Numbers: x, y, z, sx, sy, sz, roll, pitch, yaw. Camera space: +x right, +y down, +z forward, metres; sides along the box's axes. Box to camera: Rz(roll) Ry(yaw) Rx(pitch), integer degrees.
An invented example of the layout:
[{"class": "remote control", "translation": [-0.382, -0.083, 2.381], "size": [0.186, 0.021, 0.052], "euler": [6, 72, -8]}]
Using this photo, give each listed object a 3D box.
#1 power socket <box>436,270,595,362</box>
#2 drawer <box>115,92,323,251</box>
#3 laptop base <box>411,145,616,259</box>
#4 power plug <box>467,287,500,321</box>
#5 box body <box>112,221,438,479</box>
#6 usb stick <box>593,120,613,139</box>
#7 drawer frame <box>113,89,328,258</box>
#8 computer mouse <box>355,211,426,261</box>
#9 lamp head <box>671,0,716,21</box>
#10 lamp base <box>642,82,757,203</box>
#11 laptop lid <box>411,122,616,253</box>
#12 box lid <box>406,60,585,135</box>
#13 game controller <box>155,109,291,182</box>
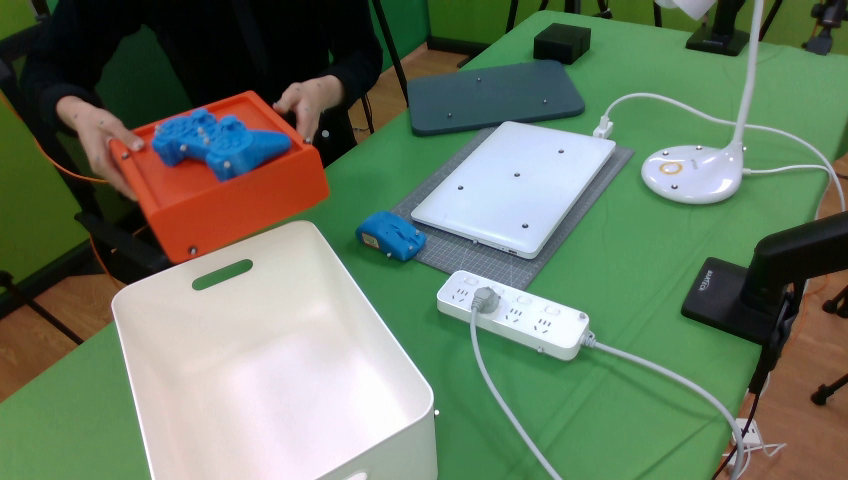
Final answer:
[{"class": "power socket", "translation": [0.118, 0.101, 0.832], "size": [0.225, 0.033, 0.072], "euler": [19, 48, 27]}, {"class": "drawer", "translation": [-0.261, -0.096, 0.771], "size": [0.195, 0.073, 0.210], "euler": [-25, 43, -23]}, {"class": "laptop base", "translation": [0.168, -0.101, 1.073], "size": [0.234, 0.023, 0.355], "euler": [17, 46, 30]}, {"class": "power plug", "translation": [0.073, 0.092, 0.814], "size": [0.035, 0.053, 0.073], "euler": [29, 54, 34]}, {"class": "box body", "translation": [-0.170, 0.168, 0.693], "size": [0.255, 0.161, 0.360], "euler": [-24, 43, -19]}, {"class": "usb stick", "translation": [0.336, -0.201, 1.146], "size": [0.021, 0.027, 0.059], "euler": [25, 52, 27]}, {"class": "drawer frame", "translation": [-0.259, -0.095, 0.768], "size": [0.202, 0.083, 0.211], "euler": [-27, 44, -22]}, {"class": "computer mouse", "translation": [-0.055, -0.010, 0.979], "size": [0.116, 0.041, 0.063], "euler": [27, 49, 28]}, {"class": "lamp head", "translation": [0.375, -0.373, 0.807], "size": [0.122, 0.113, 0.112], "euler": [-40, 27, 32]}, {"class": "lamp base", "translation": [0.463, -0.174, 0.993], "size": [0.179, 0.181, 0.159], "euler": [-5, 40, -1]}, {"class": "laptop lid", "translation": [0.165, -0.111, 1.067], "size": [0.240, 0.013, 0.357], "euler": [19, 46, 31]}, {"class": "box lid", "translation": [0.150, -0.320, 1.340], "size": [0.372, 0.015, 0.261], "euler": [-8, 40, 0]}, {"class": "game controller", "translation": [-0.245, -0.122, 0.717], "size": [0.154, 0.052, 0.097], "euler": [17, 50, 28]}]
